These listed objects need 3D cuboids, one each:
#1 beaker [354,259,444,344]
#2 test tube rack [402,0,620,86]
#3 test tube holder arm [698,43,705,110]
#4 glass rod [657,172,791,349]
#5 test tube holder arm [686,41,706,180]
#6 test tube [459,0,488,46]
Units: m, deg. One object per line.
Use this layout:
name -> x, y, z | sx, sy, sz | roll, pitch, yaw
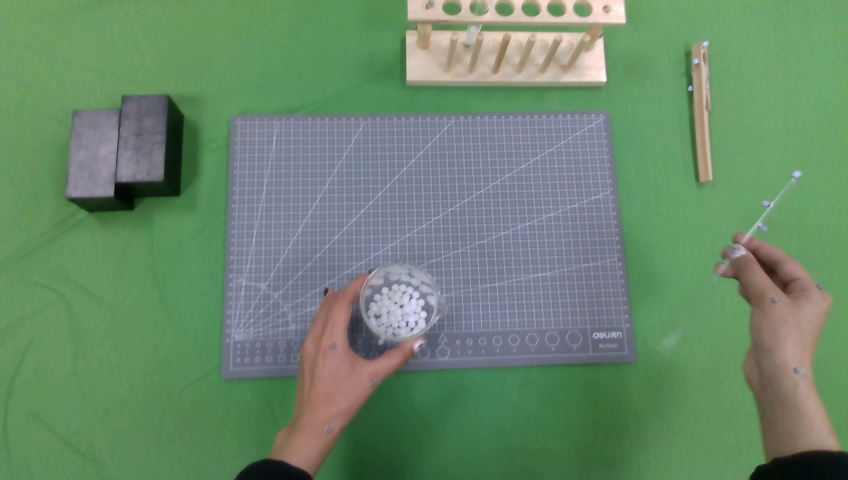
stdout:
beaker -> -0.026, 0.066, 0.602 | 0.084, 0.100, 0.073 | 8, 76, -3
test tube rack -> 0.096, -0.231, 0.708 | 0.242, 0.085, 0.066 | 0, 76, -3
test tube holder arm -> 0.339, -0.202, 0.750 | 0.010, 0.015, 0.087 | 12, 75, -31
glass rod -> 0.274, 0.025, 0.563 | 0.008, 0.008, 0.200 | 29, 111, 4
test tube holder arm -> 0.331, -0.159, 0.737 | 0.013, 0.015, 0.177 | 12, 75, -31
test tube -> 0.060, -0.259, 0.661 | 0.017, 0.150, 0.017 | 3, 74, -9
